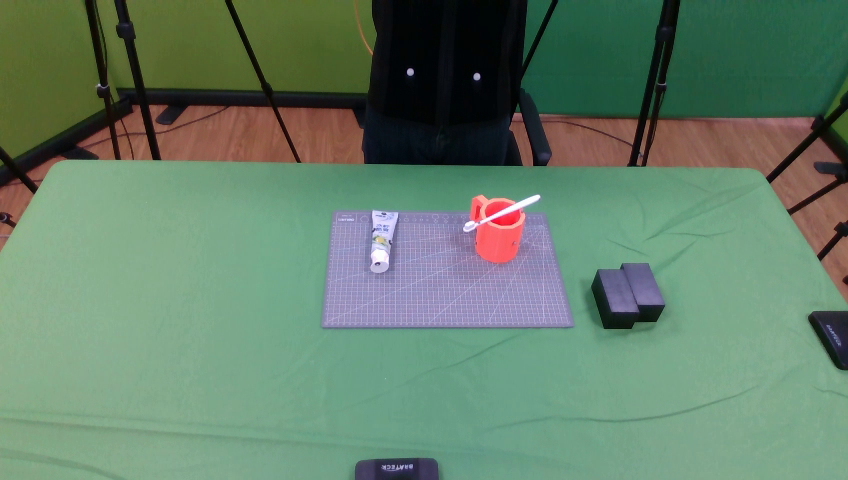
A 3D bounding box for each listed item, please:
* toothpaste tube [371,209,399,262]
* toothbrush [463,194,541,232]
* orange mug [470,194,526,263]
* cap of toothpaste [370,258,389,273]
[{"bbox_3d":[-0.080,-0.008,1.193,0.055,0.034,0.164,8,42,-6],"label":"toothpaste tube"},{"bbox_3d":[0.149,-0.054,1.131,0.182,0.017,0.014,-23,46,-24],"label":"toothbrush"},{"bbox_3d":[0.136,-0.030,1.180,0.083,0.101,0.125,-26,58,-26],"label":"orange mug"},{"bbox_3d":[-0.083,0.047,1.132,0.037,0.037,0.011,-7,50,-9],"label":"cap of toothpaste"}]
